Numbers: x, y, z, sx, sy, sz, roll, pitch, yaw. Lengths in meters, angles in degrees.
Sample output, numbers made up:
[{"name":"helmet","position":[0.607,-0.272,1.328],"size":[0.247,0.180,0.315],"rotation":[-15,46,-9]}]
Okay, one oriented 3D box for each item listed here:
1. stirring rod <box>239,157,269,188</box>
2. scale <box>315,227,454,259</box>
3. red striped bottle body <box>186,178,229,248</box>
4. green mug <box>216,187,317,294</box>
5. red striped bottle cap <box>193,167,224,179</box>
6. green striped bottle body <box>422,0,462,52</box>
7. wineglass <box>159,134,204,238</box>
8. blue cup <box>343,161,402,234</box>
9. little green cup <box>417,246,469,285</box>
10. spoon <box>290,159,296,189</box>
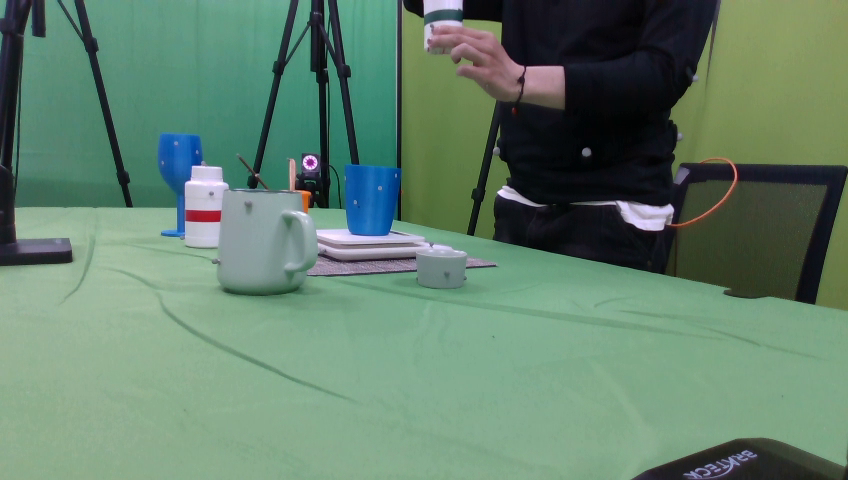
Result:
[{"name":"stirring rod","position":[-0.309,-0.098,1.209],"size":[0.006,0.177,0.014],"rotation":[-39,29,-4]},{"name":"scale","position":[-0.066,0.001,0.906],"size":[0.202,0.031,0.148],"rotation":[-2,8,-31]},{"name":"red striped bottle body","position":[-0.331,-0.050,0.927],"size":[0.063,0.119,0.063],"rotation":[2,6,0]},{"name":"green mug","position":[-0.157,0.000,0.629],"size":[0.124,0.105,0.093],"rotation":[7,9,37]},{"name":"red striped bottle cap","position":[-0.329,-0.103,0.921],"size":[0.044,0.017,0.044],"rotation":[0,9,0]},{"name":"green striped bottle body","position":[0.028,-0.365,0.961],"size":[0.063,0.119,0.063],"rotation":[-2,5,0]},{"name":"wineglass","position":[-0.415,-0.093,1.040],"size":[0.074,0.172,0.073],"rotation":[2,7,0]},{"name":"blue cup","position":[-0.078,-0.062,0.884],"size":[0.093,0.100,0.092],"rotation":[4,6,0]},{"name":"little green cup","position":[0.021,0.029,0.701],"size":[0.061,0.038,0.061],"rotation":[1,6,0]},{"name":"spoon","position":[-0.273,-0.102,1.252],"size":[0.042,0.193,0.021],"rotation":[7,-39,-17]}]
